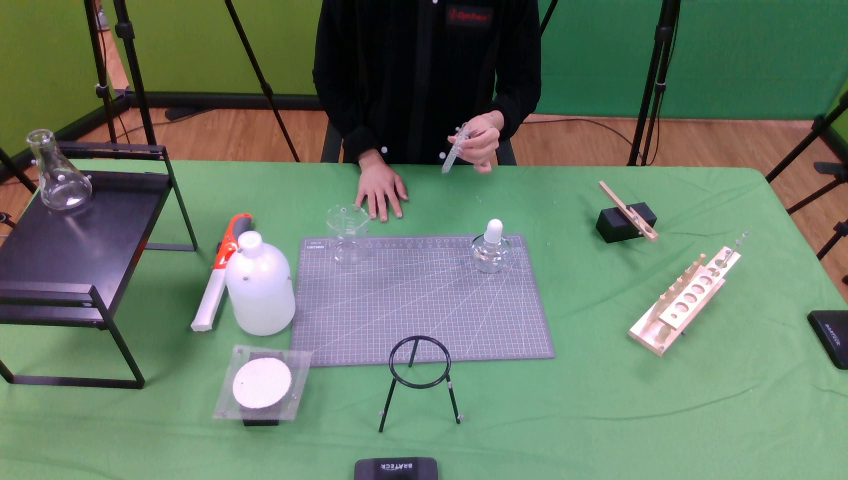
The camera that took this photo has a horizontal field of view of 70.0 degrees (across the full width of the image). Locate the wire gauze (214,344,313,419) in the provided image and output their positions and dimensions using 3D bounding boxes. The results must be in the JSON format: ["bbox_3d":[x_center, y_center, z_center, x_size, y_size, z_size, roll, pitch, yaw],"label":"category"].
[{"bbox_3d":[-0.241,0.213,0.915,0.121,0.011,0.124,5,46,1],"label":"wire gauze"}]

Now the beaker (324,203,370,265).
[{"bbox_3d":[-0.142,-0.009,1.137,0.084,0.101,0.073,-3,47,-7],"label":"beaker"}]

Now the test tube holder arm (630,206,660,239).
[{"bbox_3d":[0.431,-0.035,1.192,0.010,0.015,0.087,-23,51,-12],"label":"test tube holder arm"}]

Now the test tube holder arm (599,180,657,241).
[{"bbox_3d":[0.407,-0.062,1.219,0.013,0.015,0.177,-23,51,-12],"label":"test tube holder arm"}]

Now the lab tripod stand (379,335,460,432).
[{"bbox_3d":[-0.011,0.214,0.911,0.148,0.132,0.147,1,45,0],"label":"lab tripod stand"}]

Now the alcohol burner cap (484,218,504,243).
[{"bbox_3d":[0.130,-0.021,1.106,0.034,0.048,0.033,3,51,-4],"label":"alcohol burner cap"}]

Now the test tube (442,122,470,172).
[{"bbox_3d":[0.055,-0.161,1.067,0.017,0.150,0.017,4,67,-10],"label":"test tube"}]

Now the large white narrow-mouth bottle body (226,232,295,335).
[{"bbox_3d":[-0.270,0.065,0.995,0.102,0.195,0.101,2,46,-2],"label":"large white narrow-mouth bottle body"}]

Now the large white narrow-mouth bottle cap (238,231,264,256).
[{"bbox_3d":[-0.266,0.006,0.932,0.038,0.024,0.037,2,46,-2],"label":"large white narrow-mouth bottle cap"}]

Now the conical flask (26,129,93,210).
[{"bbox_3d":[-0.575,-0.113,0.946,0.075,0.122,0.075,2,46,-2],"label":"conical flask"}]

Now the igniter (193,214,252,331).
[{"bbox_3d":[-0.368,0.050,1.119,0.057,0.025,0.275,-3,46,8],"label":"igniter"}]

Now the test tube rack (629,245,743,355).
[{"bbox_3d":[0.474,0.095,1.091,0.242,0.085,0.066,-34,56,-31],"label":"test tube rack"}]

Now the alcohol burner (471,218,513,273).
[{"bbox_3d":[0.128,0.005,1.132,0.078,0.120,0.077,0,47,0],"label":"alcohol burner"}]

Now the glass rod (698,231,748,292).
[{"bbox_3d":[0.514,0.044,1.051,0.008,0.200,0.008,1,55,-1],"label":"glass rod"}]
